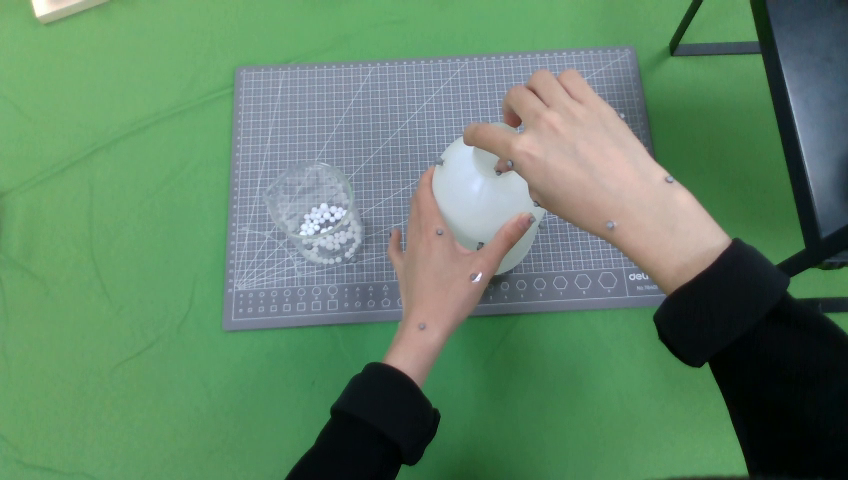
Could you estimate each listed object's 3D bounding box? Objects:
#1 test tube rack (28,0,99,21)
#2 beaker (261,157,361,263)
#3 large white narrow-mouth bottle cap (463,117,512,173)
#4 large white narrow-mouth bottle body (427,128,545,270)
[{"bbox_3d":[-0.355,-0.344,0.692,0.242,0.085,0.066,-23,73,-6],"label":"test tube rack"},{"bbox_3d":[-0.102,-0.024,0.576,0.084,0.101,0.073,8,72,4],"label":"beaker"},{"bbox_3d":[0.047,-0.069,0.449,0.038,0.024,0.037,-1,73,3],"label":"large white narrow-mouth bottle cap"},{"bbox_3d":[0.054,-0.042,0.531,0.102,0.196,0.101,-1,73,4],"label":"large white narrow-mouth bottle body"}]
